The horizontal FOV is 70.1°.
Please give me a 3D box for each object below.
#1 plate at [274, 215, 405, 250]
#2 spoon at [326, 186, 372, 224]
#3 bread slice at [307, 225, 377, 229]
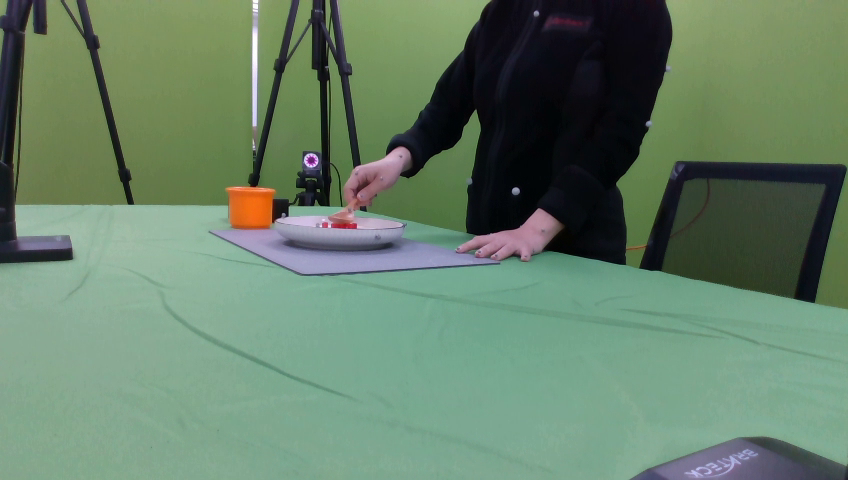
[{"bbox_3d":[-0.136,-0.013,0.981,0.209,0.038,0.209,2,7,0],"label":"plate"},{"bbox_3d":[-0.118,-0.063,1.025,0.041,0.021,0.194,10,26,9],"label":"spoon"},{"bbox_3d":[-0.133,-0.011,0.974,0.135,0.018,0.106,-3,8,-33],"label":"bread slice"}]
